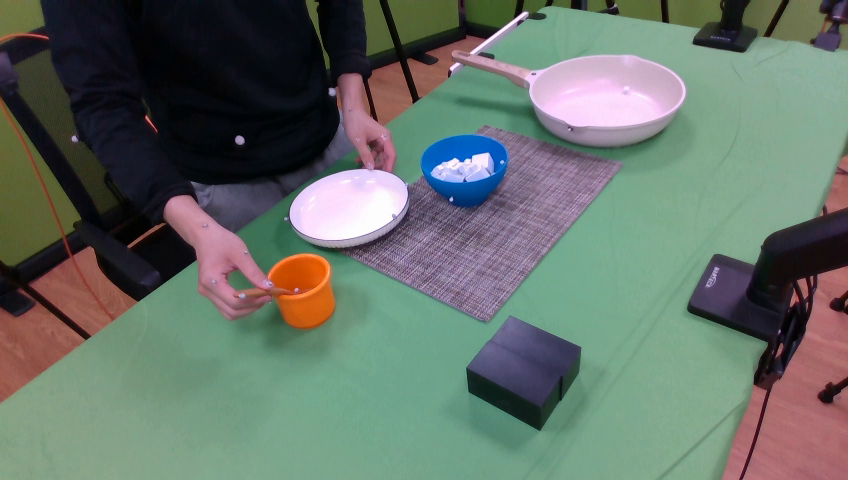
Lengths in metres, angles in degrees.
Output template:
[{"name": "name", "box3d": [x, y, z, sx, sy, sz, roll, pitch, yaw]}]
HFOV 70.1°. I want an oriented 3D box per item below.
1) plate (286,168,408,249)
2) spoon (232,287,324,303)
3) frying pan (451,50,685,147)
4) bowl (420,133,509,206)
[{"name": "plate", "box3d": [-0.127, -0.050, 1.028, 0.207, 0.039, 0.206, -5, 39, 5]}, {"name": "spoon", "box3d": [-0.194, 0.071, 0.812, 0.041, 0.195, 0.021, 19, 89, 21]}, {"name": "frying pan", "box3d": [0.269, -0.316, 1.233, 0.485, 0.103, 0.307, 26, 49, 21]}, {"name": "bowl", "box3d": [0.071, -0.112, 1.038, 0.151, 0.077, 0.150, -4, 41, 4]}]
